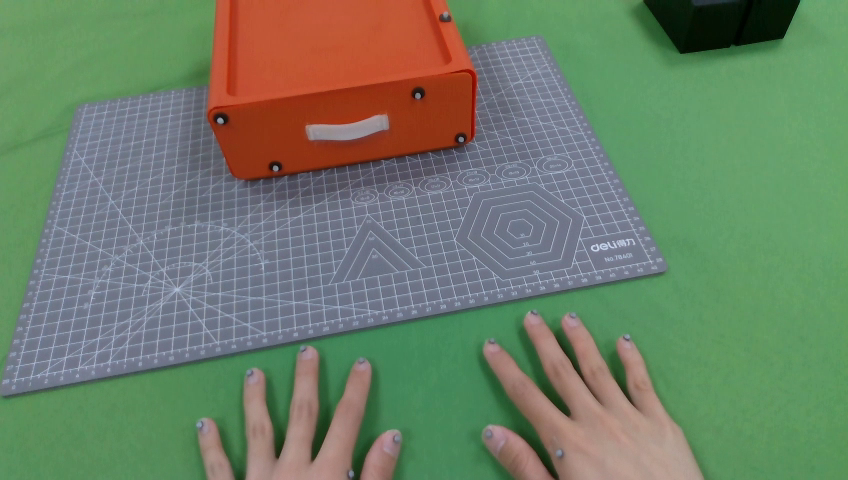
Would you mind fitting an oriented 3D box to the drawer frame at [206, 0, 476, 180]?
[{"bbox_3d":[-0.077,-0.163,0.531,0.202,0.083,0.211,-11,50,-5],"label":"drawer frame"}]

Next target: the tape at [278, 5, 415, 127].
[{"bbox_3d":[-0.068,-0.155,0.535,0.117,0.053,0.115,-2,51,2],"label":"tape"}]

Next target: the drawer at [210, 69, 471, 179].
[{"bbox_3d":[-0.076,-0.160,0.531,0.195,0.074,0.209,-10,50,-4],"label":"drawer"}]
